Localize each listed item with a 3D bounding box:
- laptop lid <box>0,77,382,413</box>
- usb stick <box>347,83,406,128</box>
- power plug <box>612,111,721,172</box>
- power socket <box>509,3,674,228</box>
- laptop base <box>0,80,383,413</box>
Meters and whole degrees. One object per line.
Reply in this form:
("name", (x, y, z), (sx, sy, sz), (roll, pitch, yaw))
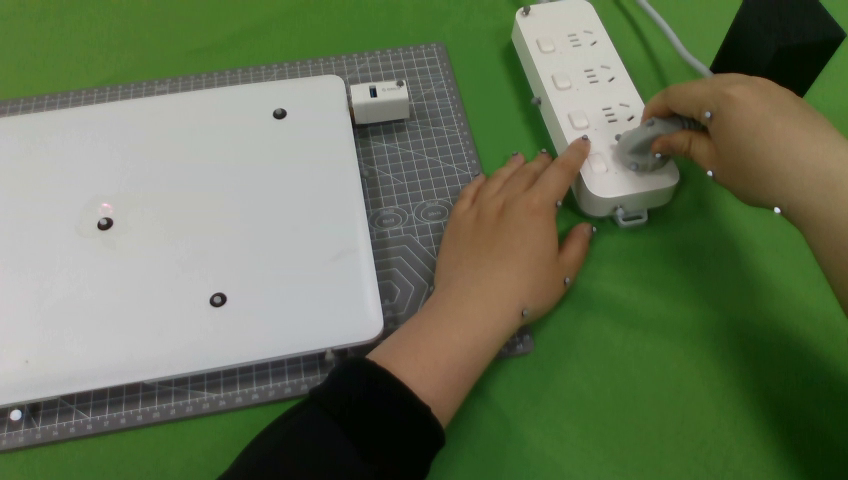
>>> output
("laptop lid", (-0.219, -0.006, 0.420), (0.357, 0.013, 0.239), (-8, 61, -5))
("usb stick", (-0.044, -0.106, 0.480), (0.059, 0.027, 0.021), (-10, 58, -2))
("power plug", (0.173, -0.064, 0.437), (0.072, 0.053, 0.035), (2, 57, 1))
("power socket", (0.128, -0.111, 0.489), (0.072, 0.033, 0.224), (-9, 59, -7))
("laptop base", (-0.219, -0.002, 0.431), (0.355, 0.023, 0.233), (-9, 63, -6))
